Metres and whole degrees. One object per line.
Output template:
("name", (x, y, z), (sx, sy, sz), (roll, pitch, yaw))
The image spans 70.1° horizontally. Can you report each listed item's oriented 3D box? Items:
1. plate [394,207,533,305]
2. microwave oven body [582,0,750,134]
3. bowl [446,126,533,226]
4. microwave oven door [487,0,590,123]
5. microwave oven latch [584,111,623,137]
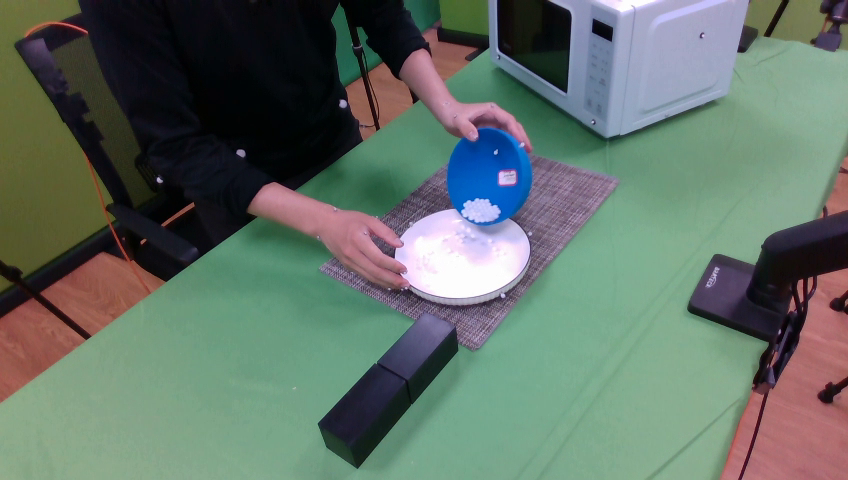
("plate", (0.059, 0.025, 0.915), (0.207, 0.039, 0.206), (-4, 41, 4))
("microwave oven body", (0.382, -0.445, 1.246), (0.327, 0.261, 0.437), (-22, 42, -16))
("bowl", (0.116, -0.098, 0.940), (0.077, 0.151, 0.150), (-5, 29, -46))
("microwave oven door", (0.232, -0.420, 1.230), (0.039, 0.245, 0.352), (-22, 43, -16))
("microwave oven latch", (0.337, -0.222, 1.142), (0.030, 0.029, 0.078), (-21, 42, -14))
